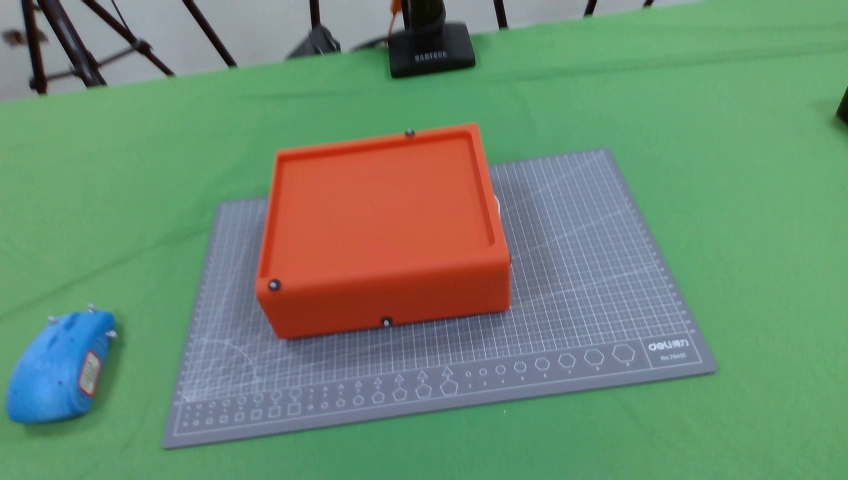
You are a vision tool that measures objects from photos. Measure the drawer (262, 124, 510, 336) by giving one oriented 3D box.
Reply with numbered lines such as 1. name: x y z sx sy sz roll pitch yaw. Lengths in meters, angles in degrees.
1. drawer: -0.034 -0.015 0.579 0.212 0.074 0.192 -8 47 2

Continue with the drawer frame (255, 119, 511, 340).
1. drawer frame: -0.036 -0.015 0.579 0.213 0.083 0.199 -9 47 1

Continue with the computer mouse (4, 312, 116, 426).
1. computer mouse: -0.323 0.109 0.539 0.063 0.041 0.116 -9 42 2
